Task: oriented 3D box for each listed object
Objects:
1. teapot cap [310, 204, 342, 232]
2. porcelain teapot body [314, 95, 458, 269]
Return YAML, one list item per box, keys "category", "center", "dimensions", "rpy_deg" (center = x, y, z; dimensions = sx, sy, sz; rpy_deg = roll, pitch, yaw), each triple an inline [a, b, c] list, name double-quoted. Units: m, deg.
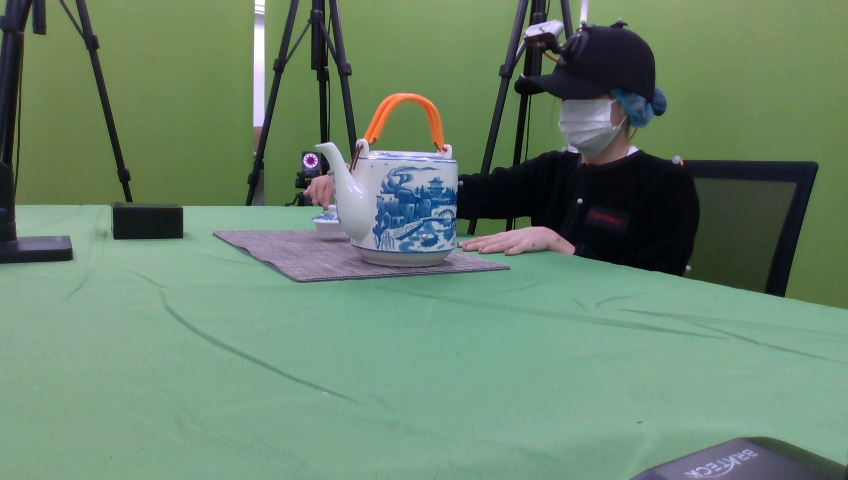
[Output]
- category: "teapot cap"
  center: [-0.148, -0.038, 1.005]
  dimensions: [0.085, 0.044, 0.085]
  rpy_deg: [0, 13, 0]
- category: "porcelain teapot body"
  center: [-0.049, -0.079, 0.800]
  dimensions: [0.206, 0.225, 0.144]
  rpy_deg: [-3, 9, -37]
